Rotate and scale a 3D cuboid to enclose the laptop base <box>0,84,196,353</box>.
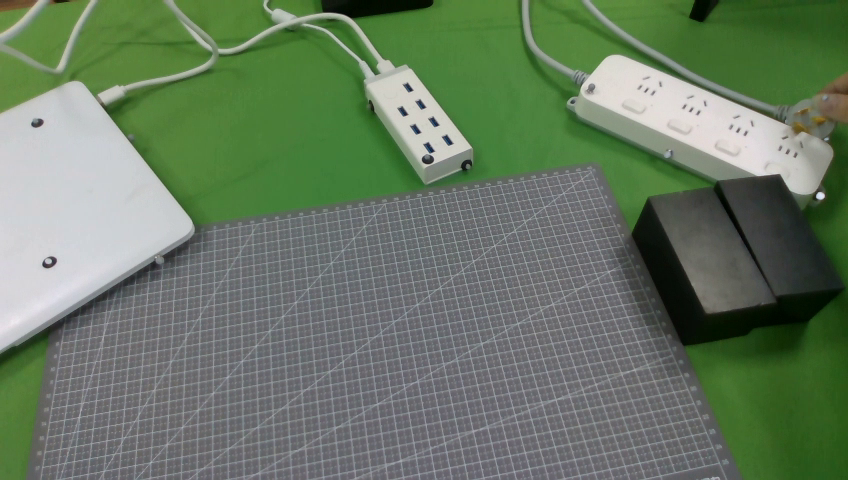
[{"bbox_3d":[-0.387,0.020,0.478,0.354,0.023,0.233,-36,65,-20],"label":"laptop base"}]

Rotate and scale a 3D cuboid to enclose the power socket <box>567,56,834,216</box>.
[{"bbox_3d":[0.238,-0.095,0.529,0.225,0.033,0.072,31,62,21],"label":"power socket"}]

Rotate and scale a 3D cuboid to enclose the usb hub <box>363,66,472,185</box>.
[{"bbox_3d":[-0.008,-0.106,0.548,0.049,0.025,0.124,-25,59,-14],"label":"usb hub"}]

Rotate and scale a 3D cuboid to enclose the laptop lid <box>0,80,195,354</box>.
[{"bbox_3d":[-0.386,0.014,0.467,0.356,0.013,0.239,-34,63,-19],"label":"laptop lid"}]

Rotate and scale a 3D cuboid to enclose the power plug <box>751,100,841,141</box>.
[{"bbox_3d":[0.315,-0.100,0.521,0.072,0.035,0.053,2,18,44],"label":"power plug"}]
